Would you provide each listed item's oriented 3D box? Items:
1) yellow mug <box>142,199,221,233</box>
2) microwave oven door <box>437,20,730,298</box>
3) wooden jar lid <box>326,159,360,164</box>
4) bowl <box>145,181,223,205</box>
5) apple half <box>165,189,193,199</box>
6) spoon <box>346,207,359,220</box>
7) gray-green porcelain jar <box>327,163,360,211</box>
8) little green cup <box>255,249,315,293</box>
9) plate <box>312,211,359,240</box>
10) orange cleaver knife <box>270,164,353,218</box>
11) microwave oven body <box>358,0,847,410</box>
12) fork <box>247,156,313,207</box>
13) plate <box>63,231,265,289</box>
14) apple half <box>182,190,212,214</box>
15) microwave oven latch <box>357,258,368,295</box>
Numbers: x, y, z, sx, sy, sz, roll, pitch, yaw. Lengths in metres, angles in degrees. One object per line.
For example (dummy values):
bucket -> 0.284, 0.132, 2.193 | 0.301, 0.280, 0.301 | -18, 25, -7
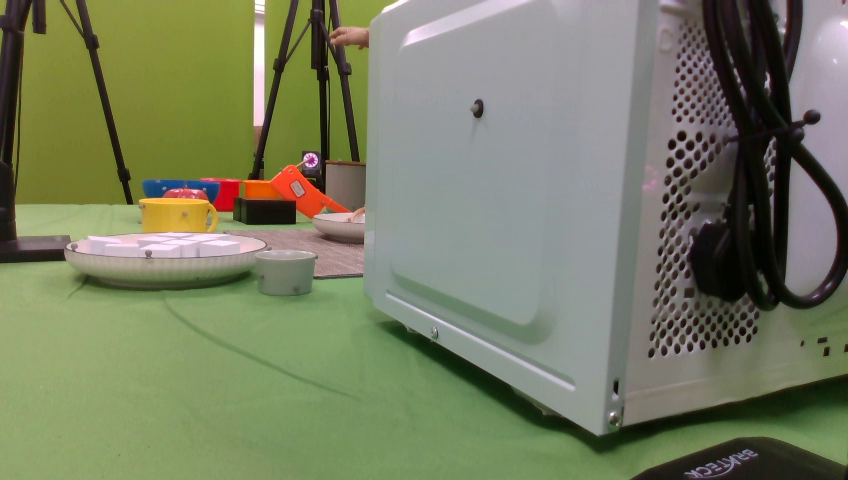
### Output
yellow mug -> -0.372, -0.030, 0.948 | 0.099, 0.064, 0.131 | 6, 7, 30
microwave oven door -> 0.181, -0.076, 0.618 | 0.358, 0.243, 0.039 | -2, 9, -28
wooden jar lid -> -0.185, -0.187, 1.481 | 0.108, 0.020, 0.108 | 4, 6, 0
bowl -> -0.499, -0.081, 1.261 | 0.151, 0.077, 0.151 | 2, 8, 0
apple half -> -0.441, -0.055, 1.097 | 0.053, 0.074, 0.081 | 0, 10, 12
spoon -> -0.126, -0.047, 1.117 | 0.041, 0.021, 0.194 | -4, 18, 15
gray-green porcelain jar -> -0.187, -0.125, 1.490 | 0.106, 0.126, 0.106 | 2, 8, 0
little green cup -> -0.144, 0.031, 0.627 | 0.061, 0.038, 0.061 | 2, 6, 0
plate -> -0.091, -0.026, 1.063 | 0.209, 0.038, 0.209 | 2, 7, 0
orange cleaver knife -> -0.240, -0.088, 1.329 | 0.212, 0.077, 0.012 | 36, -9, -33
microwave oven body -> 0.210, -0.051, 0.471 | 0.444, 0.260, 0.324 | -1, 7, -28
fork -> -0.361, -0.147, 1.523 | 0.207, 0.018, 0.028 | -43, 12, -6
plate -> -0.288, 0.021, 0.687 | 0.208, 0.039, 0.207 | 2, 8, 0
apple half -> -0.402, -0.054, 1.090 | 0.033, 0.081, 0.081 | 0, 7, 12
microwave oven latch -> -0.019, 0.031, 0.529 | 0.079, 0.029, 0.030 | -1, 7, -27
